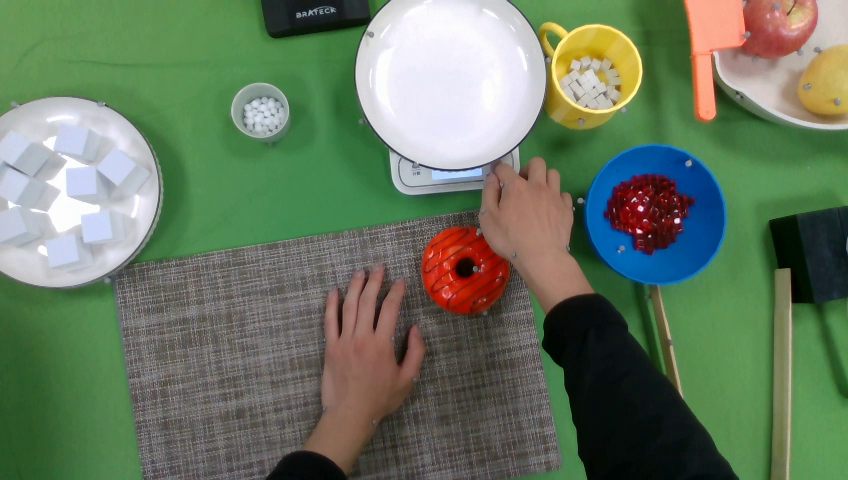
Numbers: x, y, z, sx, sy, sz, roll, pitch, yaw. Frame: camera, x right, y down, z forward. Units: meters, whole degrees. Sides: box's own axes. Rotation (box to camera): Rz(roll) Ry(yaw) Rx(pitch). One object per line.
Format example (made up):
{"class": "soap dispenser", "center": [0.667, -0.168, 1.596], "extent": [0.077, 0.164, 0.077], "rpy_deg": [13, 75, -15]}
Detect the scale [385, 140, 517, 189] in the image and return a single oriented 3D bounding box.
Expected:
{"class": "scale", "center": [0.025, -0.163, 0.689], "extent": [0.149, 0.031, 0.200], "rpy_deg": [-5, 86, -4]}

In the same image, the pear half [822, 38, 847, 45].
{"class": "pear half", "center": [0.483, -0.211, 0.689], "extent": [0.070, 0.088, 0.031], "rpy_deg": [21, 84, 4]}

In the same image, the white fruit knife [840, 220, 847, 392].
{"class": "white fruit knife", "center": [0.478, 0.078, 0.678], "extent": [0.016, 0.027, 0.208], "rpy_deg": [-12, 101, -4]}

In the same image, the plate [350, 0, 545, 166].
{"class": "plate", "center": [0.025, -0.180, 0.658], "extent": [0.209, 0.038, 0.208], "rpy_deg": [0, 86, -4]}

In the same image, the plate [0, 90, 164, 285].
{"class": "plate", "center": [-0.383, -0.055, 0.652], "extent": [0.208, 0.039, 0.207], "rpy_deg": [0, 86, -4]}

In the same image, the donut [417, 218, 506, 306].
{"class": "donut", "center": [0.040, 0.024, 0.667], "extent": [0.099, 0.048, 0.099], "rpy_deg": [0, 87, -2]}

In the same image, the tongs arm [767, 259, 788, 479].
{"class": "tongs arm", "center": [0.393, 0.214, 0.688], "extent": [0.028, 0.027, 0.386], "rpy_deg": [6, 86, -10]}

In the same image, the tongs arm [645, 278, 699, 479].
{"class": "tongs arm", "center": [0.308, 0.220, 0.679], "extent": [0.051, 0.026, 0.384], "rpy_deg": [-9, 87, -8]}

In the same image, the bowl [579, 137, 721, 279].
{"class": "bowl", "center": [0.237, -0.031, 0.671], "extent": [0.151, 0.077, 0.151], "rpy_deg": [0, 86, -4]}

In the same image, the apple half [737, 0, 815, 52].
{"class": "apple half", "center": [0.391, -0.246, 0.694], "extent": [0.081, 0.074, 0.053], "rpy_deg": [32, 88, -3]}

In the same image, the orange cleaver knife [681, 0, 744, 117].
{"class": "orange cleaver knife", "center": [0.310, -0.240, 0.660], "extent": [0.077, 0.012, 0.211], "rpy_deg": [-5, 87, -1]}

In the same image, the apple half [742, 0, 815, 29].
{"class": "apple half", "center": [0.410, -0.279, 0.696], "extent": [0.081, 0.081, 0.033], "rpy_deg": [31, 87, 0]}

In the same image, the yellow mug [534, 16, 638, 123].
{"class": "yellow mug", "center": [0.171, -0.201, 0.685], "extent": [0.100, 0.064, 0.131], "rpy_deg": [-42, 88, -5]}

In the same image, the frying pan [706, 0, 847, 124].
{"class": "frying pan", "center": [0.502, -0.190, 0.687], "extent": [0.307, 0.103, 0.486], "rpy_deg": [-37, 81, -4]}

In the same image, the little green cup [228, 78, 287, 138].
{"class": "little green cup", "center": [-0.181, -0.143, 0.671], "extent": [0.061, 0.038, 0.061], "rpy_deg": [0, 85, -3]}

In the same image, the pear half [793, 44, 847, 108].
{"class": "pear half", "center": [0.464, -0.182, 0.676], "extent": [0.076, 0.110, 0.056], "rpy_deg": [26, 85, 3]}
